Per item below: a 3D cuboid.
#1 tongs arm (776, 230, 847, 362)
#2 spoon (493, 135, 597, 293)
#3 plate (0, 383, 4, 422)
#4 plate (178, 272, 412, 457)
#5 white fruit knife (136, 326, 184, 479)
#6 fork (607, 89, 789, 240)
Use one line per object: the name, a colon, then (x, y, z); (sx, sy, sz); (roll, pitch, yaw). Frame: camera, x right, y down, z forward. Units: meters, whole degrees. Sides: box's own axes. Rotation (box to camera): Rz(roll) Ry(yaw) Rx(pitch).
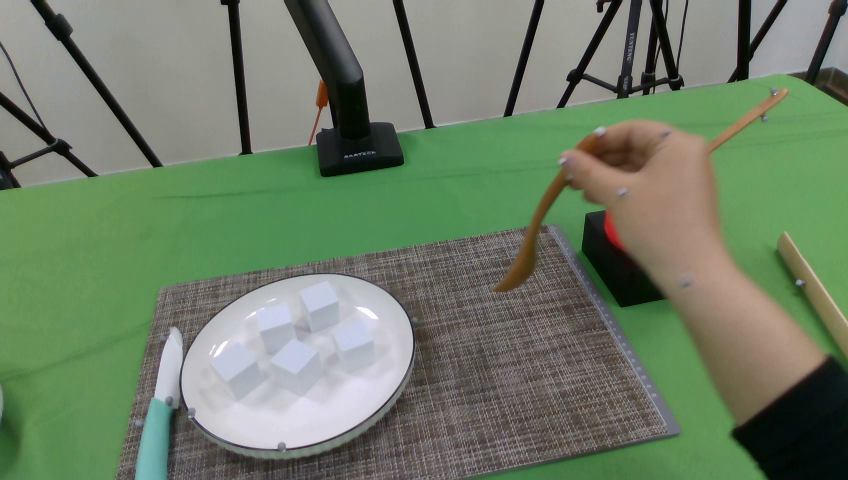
tongs arm: (0.390, 0.117, 0.512); (0.028, 0.028, 0.383); (0, 38, 1)
spoon: (0.090, -0.011, 0.474); (0.042, 0.195, 0.021); (-25, 60, -27)
plate: (-0.463, 0.180, 0.505); (0.209, 0.038, 0.207); (-2, 37, 2)
plate: (-0.113, 0.111, 0.555); (0.207, 0.039, 0.205); (-2, 38, 2)
white fruit knife: (-0.231, 0.148, 0.539); (0.027, 0.016, 0.205); (14, 30, -24)
fork: (0.264, -0.071, 0.588); (0.207, 0.019, 0.028); (-45, 29, 16)
